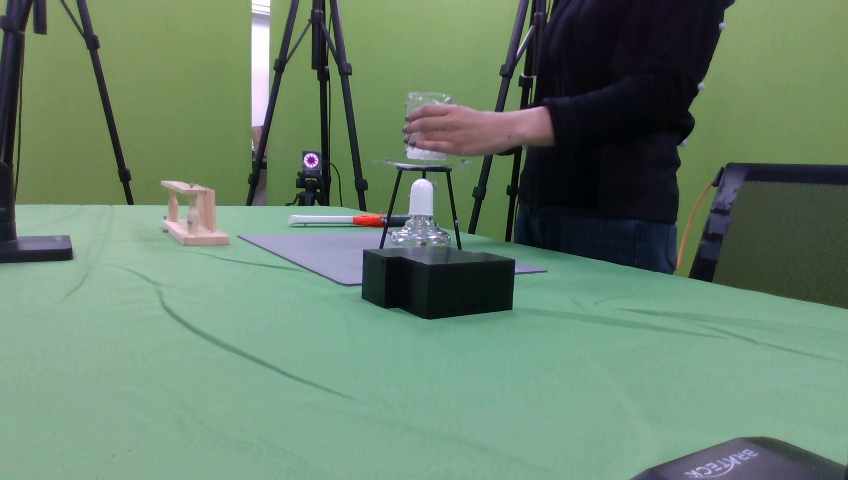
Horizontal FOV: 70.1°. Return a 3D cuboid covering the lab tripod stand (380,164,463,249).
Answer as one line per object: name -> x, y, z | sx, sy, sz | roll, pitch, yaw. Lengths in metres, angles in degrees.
lab tripod stand -> -0.003, -0.055, 0.967 | 0.148, 0.131, 0.148 | 2, 9, 0

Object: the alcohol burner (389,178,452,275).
alcohol burner -> -0.004, -0.017, 0.749 | 0.078, 0.119, 0.078 | 1, 9, 0

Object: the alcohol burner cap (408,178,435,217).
alcohol burner cap -> -0.002, -0.053, 0.746 | 0.034, 0.048, 0.034 | 3, 3, 0

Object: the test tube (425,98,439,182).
test tube -> 0.015, -0.179, 1.091 | 0.017, 0.150, 0.017 | -5, 9, 1

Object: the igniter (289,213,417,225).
igniter -> -0.144, -0.044, 1.275 | 0.278, 0.025, 0.057 | -1, -1, -27

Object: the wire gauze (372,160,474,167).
wire gauze -> -0.004, -0.122, 0.959 | 0.122, 0.011, 0.124 | -4, 10, -33

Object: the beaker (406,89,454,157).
beaker -> 0.009, -0.181, 0.946 | 0.074, 0.100, 0.084 | 6, 8, 24

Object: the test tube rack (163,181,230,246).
test tube rack -> -0.387, -0.050, 1.015 | 0.067, 0.085, 0.241 | -2, 9, -30
